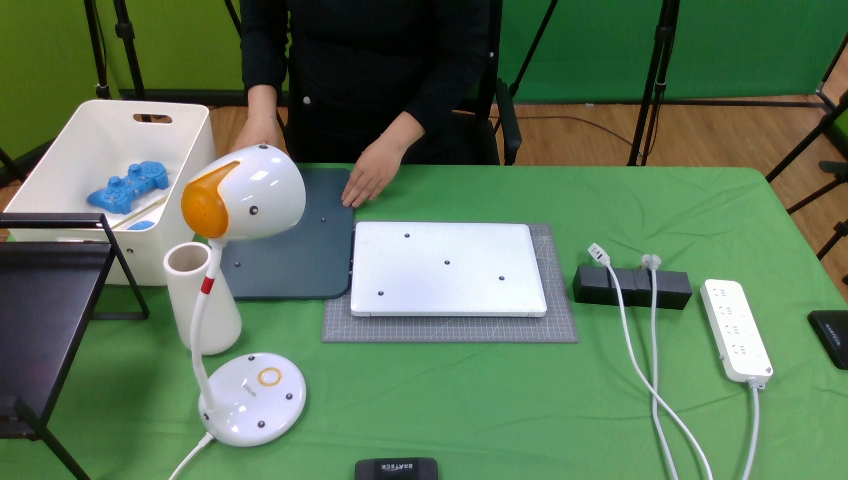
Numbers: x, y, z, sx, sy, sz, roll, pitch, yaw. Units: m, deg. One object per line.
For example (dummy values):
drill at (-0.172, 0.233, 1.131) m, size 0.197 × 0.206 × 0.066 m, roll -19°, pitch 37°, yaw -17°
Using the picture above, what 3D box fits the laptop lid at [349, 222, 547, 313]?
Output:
laptop lid at (0.041, 0.045, 1.143) m, size 0.357 × 0.013 × 0.240 m, roll 2°, pitch 44°, yaw -3°

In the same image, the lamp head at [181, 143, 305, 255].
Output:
lamp head at (-0.216, -0.044, 0.697) m, size 0.112 × 0.113 × 0.123 m, roll 23°, pitch 31°, yaw 17°

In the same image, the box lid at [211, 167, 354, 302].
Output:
box lid at (-0.277, -0.024, 1.205) m, size 0.263 × 0.015 × 0.369 m, roll 0°, pitch 46°, yaw -4°

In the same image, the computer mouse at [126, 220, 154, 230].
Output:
computer mouse at (-0.537, 0.008, 1.127) m, size 0.062 × 0.041 × 0.117 m, roll 32°, pitch 56°, yaw 20°

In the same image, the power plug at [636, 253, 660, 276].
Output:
power plug at (0.415, 0.050, 1.139) m, size 0.035 × 0.053 × 0.072 m, roll 46°, pitch 49°, yaw 10°

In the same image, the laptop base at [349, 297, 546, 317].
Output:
laptop base at (0.040, 0.055, 1.149) m, size 0.355 × 0.023 × 0.234 m, roll 1°, pitch 42°, yaw -4°

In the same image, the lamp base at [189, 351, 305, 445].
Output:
lamp base at (-0.268, 0.196, 0.876) m, size 0.160 × 0.181 × 0.179 m, roll 26°, pitch 52°, yaw 20°

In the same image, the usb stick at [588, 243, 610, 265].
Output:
usb stick at (0.336, 0.024, 1.172) m, size 0.027 × 0.021 × 0.059 m, roll 33°, pitch 17°, yaw -12°

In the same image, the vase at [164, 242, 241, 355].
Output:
vase at (-0.349, 0.096, 0.954) m, size 0.098 × 0.201 × 0.097 m, roll 3°, pitch 47°, yaw -3°

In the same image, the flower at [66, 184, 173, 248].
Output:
flower at (-0.566, -0.059, 1.199) m, size 0.044 × 0.038 × 0.361 m, roll 42°, pitch 52°, yaw -1°

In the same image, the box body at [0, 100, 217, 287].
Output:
box body at (-0.560, -0.092, 1.144) m, size 0.254 × 0.161 × 0.361 m, roll 3°, pitch 46°, yaw -2°

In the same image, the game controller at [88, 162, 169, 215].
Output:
game controller at (-0.597, -0.113, 1.234) m, size 0.097 × 0.052 × 0.155 m, roll 29°, pitch 51°, yaw 20°

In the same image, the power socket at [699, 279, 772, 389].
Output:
power socket at (0.551, 0.157, 1.081) m, size 0.072 × 0.033 × 0.225 m, roll 5°, pitch 46°, yaw 1°
